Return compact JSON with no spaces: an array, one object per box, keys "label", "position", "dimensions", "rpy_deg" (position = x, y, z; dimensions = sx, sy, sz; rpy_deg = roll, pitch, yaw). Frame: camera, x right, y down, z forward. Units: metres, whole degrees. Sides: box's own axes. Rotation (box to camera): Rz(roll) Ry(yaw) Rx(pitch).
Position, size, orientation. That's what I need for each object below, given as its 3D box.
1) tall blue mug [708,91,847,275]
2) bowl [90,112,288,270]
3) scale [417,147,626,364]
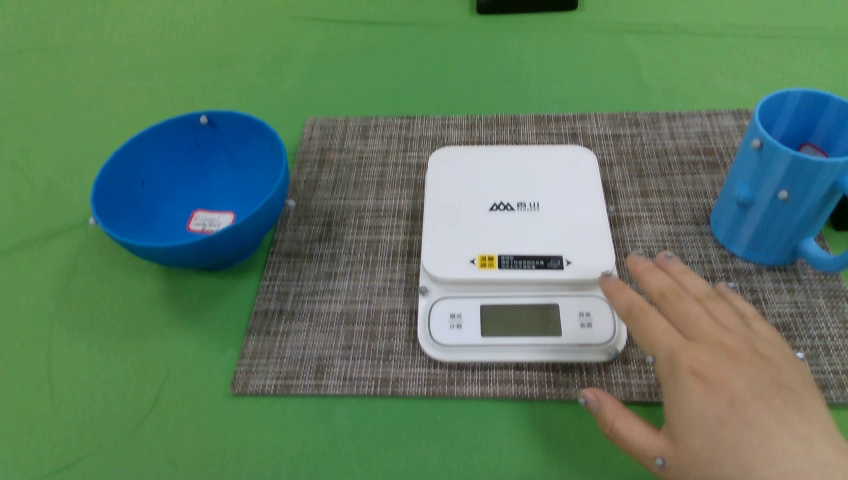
[{"label":"tall blue mug","position":[0.277,-0.035,0.441],"dimensions":[0.106,0.109,0.077],"rpy_deg":[33,59,28]},{"label":"bowl","position":[-0.179,-0.028,0.499],"dimensions":[0.151,0.077,0.150],"rpy_deg":[-2,50,3]},{"label":"scale","position":[0.072,0.003,0.478],"dimensions":[0.148,0.032,0.199],"rpy_deg":[-1,51,5]}]
